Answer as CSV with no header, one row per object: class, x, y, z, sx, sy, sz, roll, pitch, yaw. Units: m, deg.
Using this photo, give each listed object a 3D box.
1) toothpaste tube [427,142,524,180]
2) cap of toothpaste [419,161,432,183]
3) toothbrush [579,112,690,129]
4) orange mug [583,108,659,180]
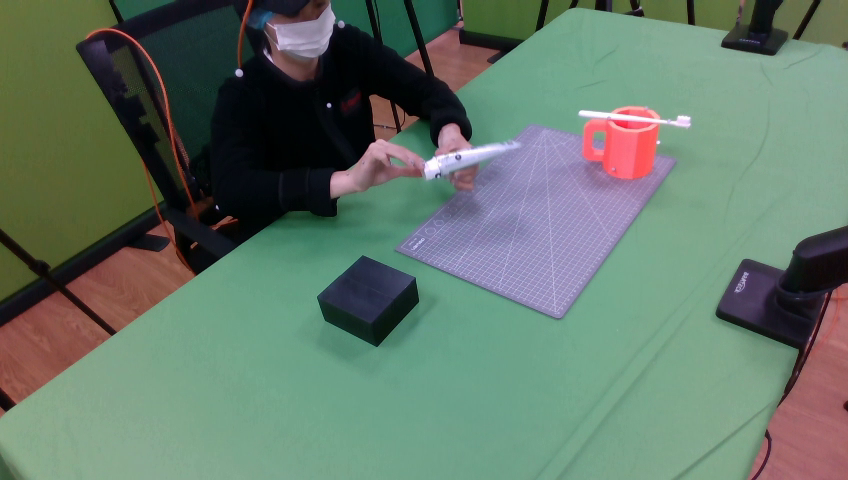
toothpaste tube,0.078,-0.134,0.981,0.165,0.034,0.054,-18,22,-8
cap of toothpaste,0.002,-0.110,0.972,0.011,0.037,0.037,-22,42,-11
toothbrush,0.352,-0.205,1.019,0.181,0.017,0.014,10,47,21
orange mug,0.343,-0.171,1.061,0.126,0.101,0.083,10,43,15
